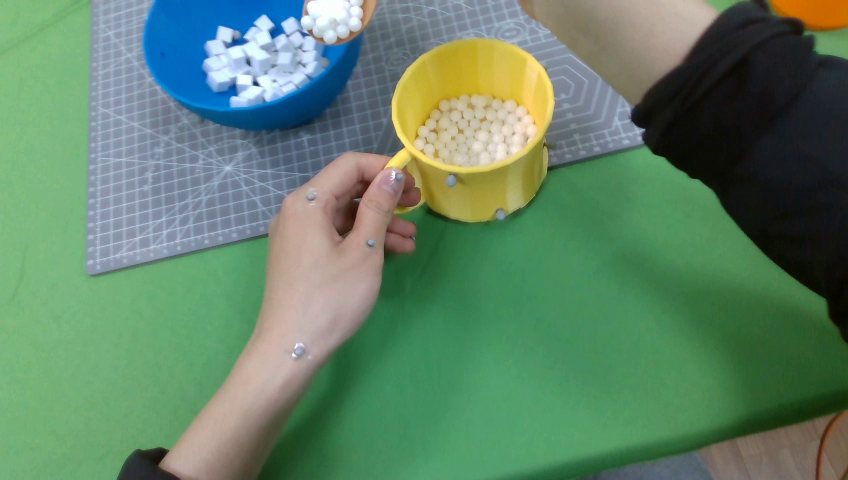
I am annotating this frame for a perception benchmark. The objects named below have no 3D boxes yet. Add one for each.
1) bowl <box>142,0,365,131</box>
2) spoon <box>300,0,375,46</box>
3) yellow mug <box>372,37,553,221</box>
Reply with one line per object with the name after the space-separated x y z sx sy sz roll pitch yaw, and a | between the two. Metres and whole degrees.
-0.109 -0.133 0.434 0.151 0.077 0.150 -3 68 7 | bowl
-0.013 -0.193 0.325 0.041 0.021 0.194 37 114 8 | spoon
0.020 -0.062 0.391 0.131 0.064 0.099 -39 66 -10 | yellow mug
